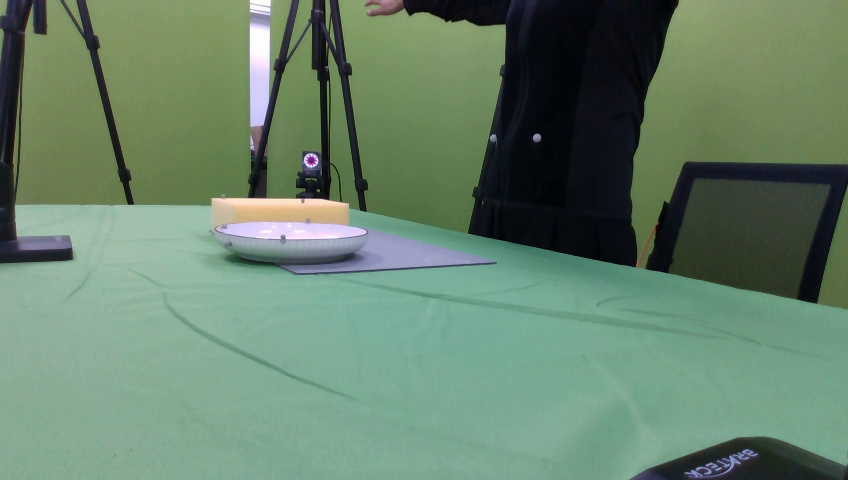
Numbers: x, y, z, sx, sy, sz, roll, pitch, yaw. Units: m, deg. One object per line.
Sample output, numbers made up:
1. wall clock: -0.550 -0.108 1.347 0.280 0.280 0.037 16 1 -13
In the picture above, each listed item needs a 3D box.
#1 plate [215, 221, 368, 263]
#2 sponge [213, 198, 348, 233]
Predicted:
1. plate: -0.182 0.002 0.846 0.209 0.038 0.209 2 7 0
2. sponge: -0.251 -0.039 1.059 0.208 0.061 0.117 -3 9 -36
